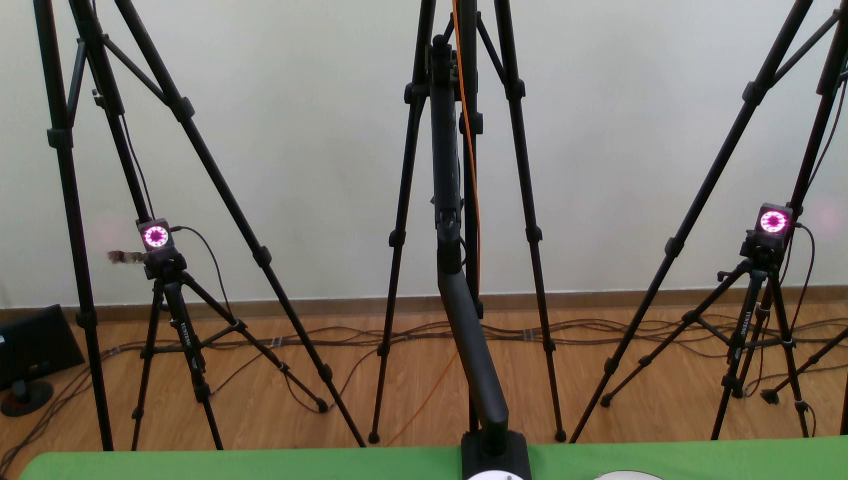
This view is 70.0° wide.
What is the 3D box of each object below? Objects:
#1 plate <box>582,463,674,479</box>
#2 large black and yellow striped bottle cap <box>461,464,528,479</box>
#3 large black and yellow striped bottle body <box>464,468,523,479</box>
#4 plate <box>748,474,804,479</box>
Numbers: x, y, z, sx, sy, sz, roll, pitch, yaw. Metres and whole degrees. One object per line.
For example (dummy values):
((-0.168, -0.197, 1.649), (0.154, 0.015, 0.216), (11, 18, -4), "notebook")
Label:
((0.336, 0.450, 0.955), (0.209, 0.038, 0.207), (-2, 33, 2), "plate")
((0.098, 0.358, 0.824), (0.115, 0.019, 0.114), (-2, 34, 1), "large black and yellow striped bottle cap")
((0.101, 0.429, 0.869), (0.131, 0.185, 0.129), (-2, 33, 2), "large black and yellow striped bottle body")
((0.575, 0.457, 0.925), (0.207, 0.039, 0.206), (-2, 32, 2), "plate")
